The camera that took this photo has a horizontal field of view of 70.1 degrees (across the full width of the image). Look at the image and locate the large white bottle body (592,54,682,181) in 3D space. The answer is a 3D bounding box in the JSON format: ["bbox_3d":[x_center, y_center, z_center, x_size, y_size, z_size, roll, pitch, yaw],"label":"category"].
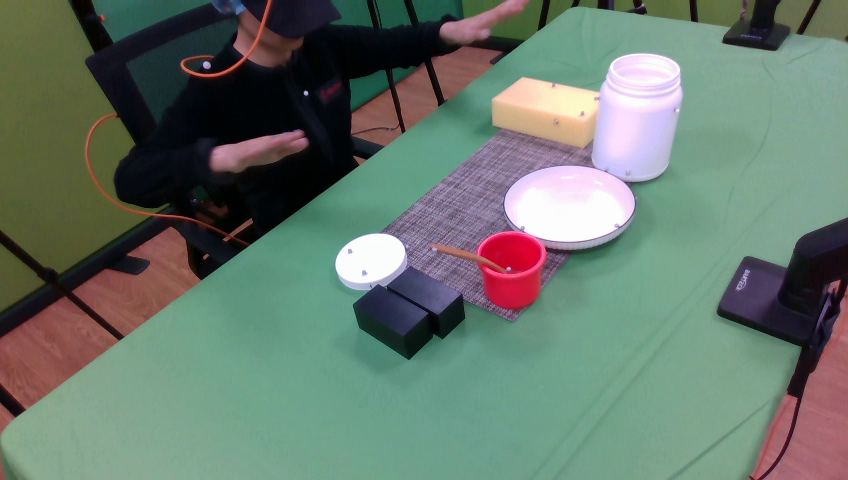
[{"bbox_3d":[0.360,-0.208,1.027,0.130,0.185,0.130,-3,41,3],"label":"large white bottle body"}]

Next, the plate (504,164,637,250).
[{"bbox_3d":[0.234,-0.051,0.981,0.209,0.038,0.208,-5,40,5],"label":"plate"}]

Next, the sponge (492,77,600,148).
[{"bbox_3d":[0.254,-0.259,1.207,0.205,0.061,0.118,22,47,31],"label":"sponge"}]

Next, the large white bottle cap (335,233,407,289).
[{"bbox_3d":[-0.085,0.032,0.961,0.115,0.018,0.114,-6,41,6],"label":"large white bottle cap"}]

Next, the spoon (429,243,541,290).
[{"bbox_3d":[0.086,0.033,0.826,0.195,0.021,0.041,23,28,-33],"label":"spoon"}]
